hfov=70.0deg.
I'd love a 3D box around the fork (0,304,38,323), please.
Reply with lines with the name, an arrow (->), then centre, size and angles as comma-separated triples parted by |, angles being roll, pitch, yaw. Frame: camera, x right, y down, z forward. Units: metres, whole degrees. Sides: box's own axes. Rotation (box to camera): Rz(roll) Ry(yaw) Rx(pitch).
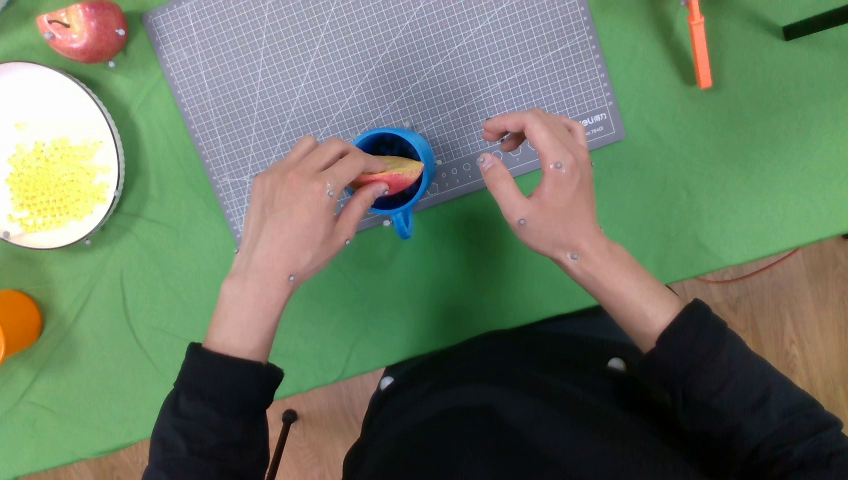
fork -> -0.555, 0.103, 0.678 | 0.208, 0.018, 0.028 | -11, 103, -38

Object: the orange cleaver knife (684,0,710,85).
orange cleaver knife -> 0.248, -0.251, 0.575 | 0.012, 0.076, 0.213 | -15, 127, 16

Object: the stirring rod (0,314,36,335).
stirring rod -> -0.540, 0.118, 0.683 | 0.176, 0.006, 0.014 | -18, 90, -33

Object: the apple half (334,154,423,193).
apple half -> -0.041, -0.060, 0.563 | 0.081, 0.081, 0.033 | 3, 108, 4

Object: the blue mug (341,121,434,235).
blue mug -> -0.031, -0.063, 0.622 | 0.082, 0.105, 0.117 | -11, 101, 7

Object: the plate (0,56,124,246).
plate -> -0.435, -0.099, 0.682 | 0.209, 0.038, 0.210 | 1, 103, 5

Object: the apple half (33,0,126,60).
apple half -> -0.351, -0.217, 0.633 | 0.081, 0.074, 0.053 | -15, 104, 4
